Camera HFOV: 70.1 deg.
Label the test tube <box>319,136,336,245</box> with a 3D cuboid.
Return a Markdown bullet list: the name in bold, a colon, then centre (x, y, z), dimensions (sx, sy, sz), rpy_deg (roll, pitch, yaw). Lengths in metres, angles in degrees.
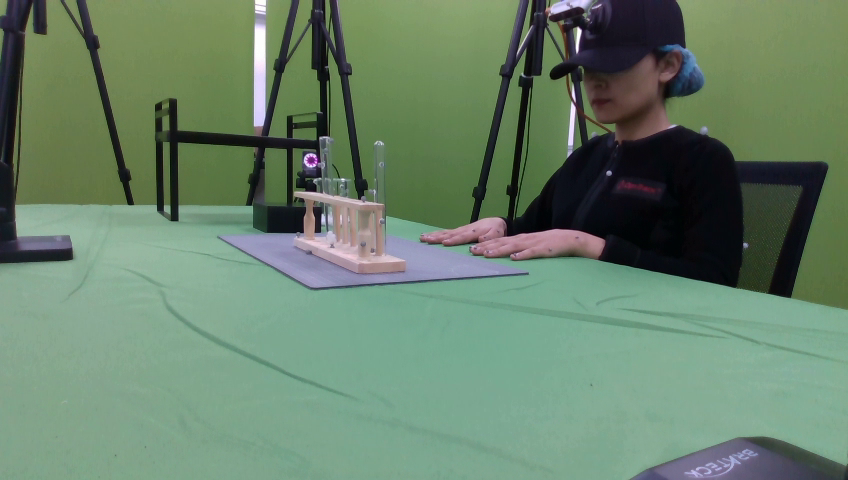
- **test tube**: centre (-0.134, -0.068, 0.837), dimensions (0.017, 0.150, 0.017), rpy_deg (-3, 4, 0)

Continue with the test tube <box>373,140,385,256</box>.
- **test tube**: centre (-0.058, -0.053, 0.781), dimensions (0.017, 0.150, 0.017), rpy_deg (0, 5, 0)

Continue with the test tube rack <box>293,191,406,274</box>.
- **test tube rack**: centre (-0.110, -0.017, 0.836), dimensions (0.067, 0.085, 0.241), rpy_deg (-2, 9, -30)

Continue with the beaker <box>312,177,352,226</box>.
- **beaker**: centre (-0.194, -0.081, 1.266), dimensions (0.084, 0.100, 0.073), rpy_deg (-3, 9, -29)
